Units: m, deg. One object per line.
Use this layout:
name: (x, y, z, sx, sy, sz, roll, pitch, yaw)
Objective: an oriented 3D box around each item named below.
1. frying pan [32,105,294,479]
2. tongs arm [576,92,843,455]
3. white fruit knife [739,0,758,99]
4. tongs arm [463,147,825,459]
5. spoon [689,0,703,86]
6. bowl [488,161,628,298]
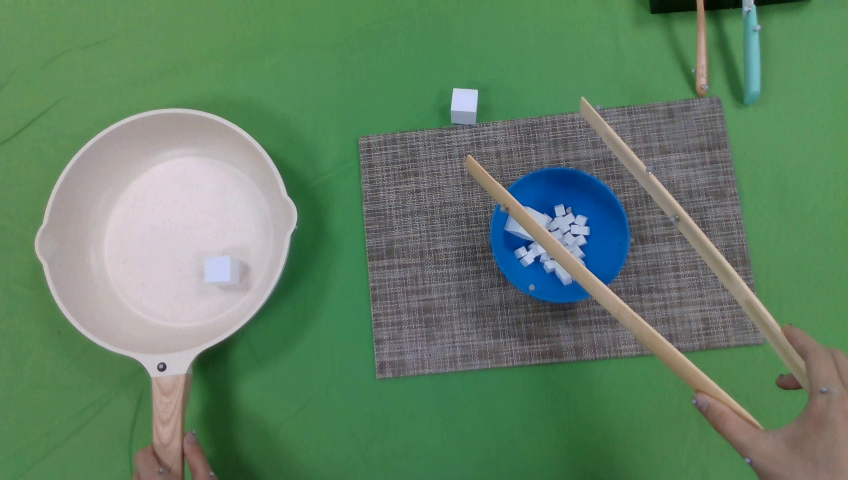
frying pan: (-0.289, 0.087, 0.690, 0.307, 0.103, 0.484, -6, 72, 3)
tongs arm: (0.224, 0.002, 0.537, 0.051, 0.027, 0.380, -23, 58, -11)
white fruit knife: (0.383, -0.275, 0.721, 0.016, 0.027, 0.207, -5, 95, -2)
tongs arm: (0.158, 0.036, 0.523, 0.028, 0.028, 0.383, -32, 60, -20)
spoon: (0.327, -0.283, 0.719, 0.041, 0.022, 0.194, 6, 103, 26)
bowl: (0.146, -0.006, 0.689, 0.151, 0.077, 0.151, 0, 81, 3)
